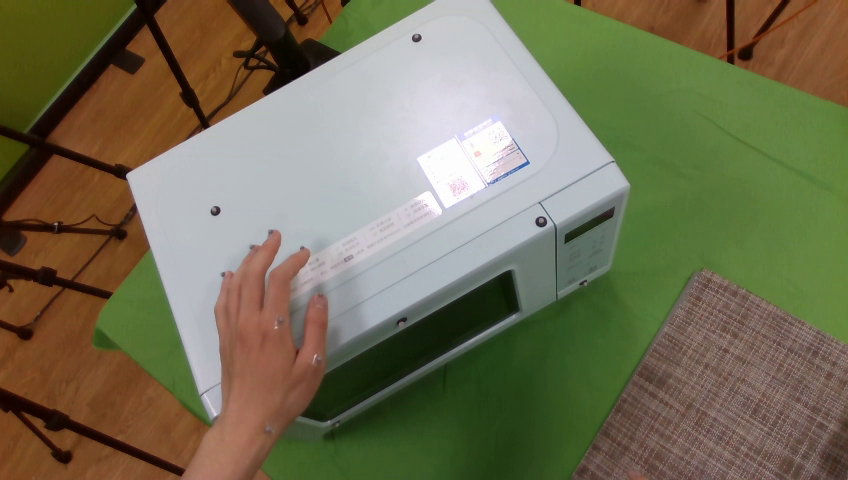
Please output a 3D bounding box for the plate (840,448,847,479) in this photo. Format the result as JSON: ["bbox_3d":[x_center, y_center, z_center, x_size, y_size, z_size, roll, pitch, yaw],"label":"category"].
[{"bbox_3d":[0.525,0.265,0.599,0.207,0.039,0.206,-4,68,10],"label":"plate"}]

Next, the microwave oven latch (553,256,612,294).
[{"bbox_3d":[0.191,0.035,0.745,0.079,0.030,0.030,-28,66,1],"label":"microwave oven latch"}]

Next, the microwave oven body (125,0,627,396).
[{"bbox_3d":[-0.050,-0.029,0.715,0.442,0.262,0.323,-30,66,0],"label":"microwave oven body"}]

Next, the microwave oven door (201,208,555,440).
[{"bbox_3d":[-0.022,0.105,0.651,0.356,0.246,0.039,-30,65,-1],"label":"microwave oven door"}]
